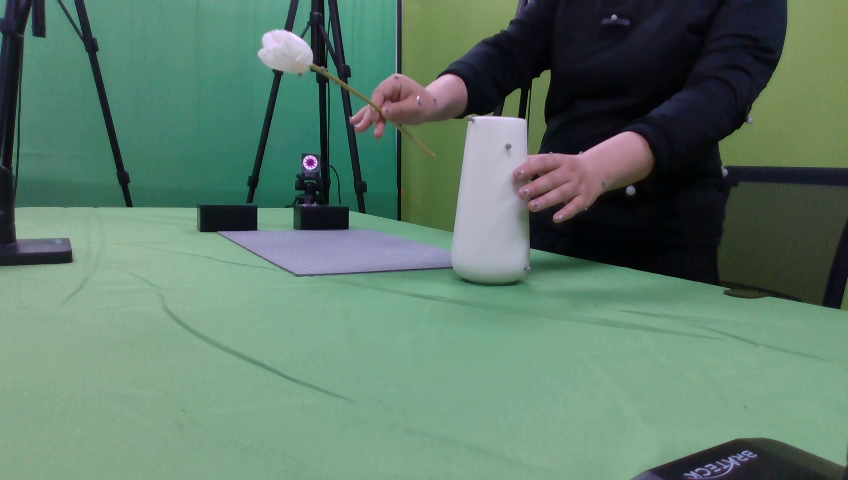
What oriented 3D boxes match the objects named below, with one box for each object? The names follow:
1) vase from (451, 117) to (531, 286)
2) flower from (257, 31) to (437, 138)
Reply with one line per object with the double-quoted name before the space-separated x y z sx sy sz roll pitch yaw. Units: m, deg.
"vase" 0.084 -0.047 0.737 0.098 0.200 0.098 1 6 0
"flower" -0.076 -0.188 0.806 0.038 0.044 0.363 51 19 27
